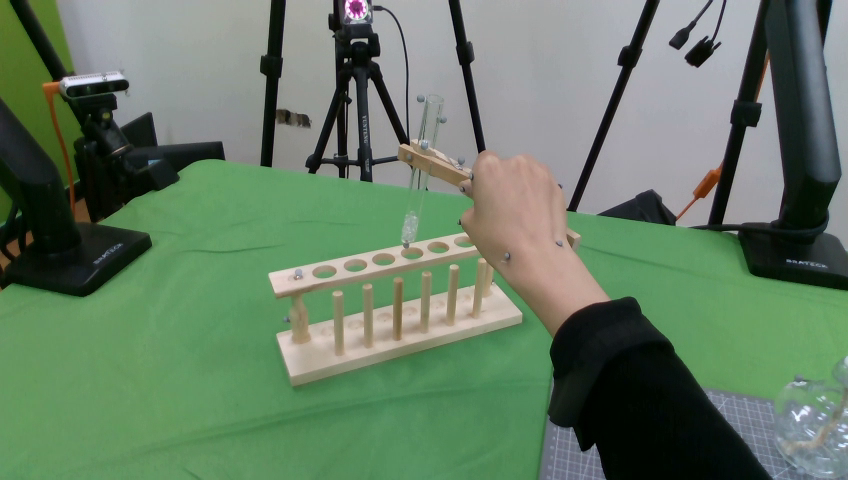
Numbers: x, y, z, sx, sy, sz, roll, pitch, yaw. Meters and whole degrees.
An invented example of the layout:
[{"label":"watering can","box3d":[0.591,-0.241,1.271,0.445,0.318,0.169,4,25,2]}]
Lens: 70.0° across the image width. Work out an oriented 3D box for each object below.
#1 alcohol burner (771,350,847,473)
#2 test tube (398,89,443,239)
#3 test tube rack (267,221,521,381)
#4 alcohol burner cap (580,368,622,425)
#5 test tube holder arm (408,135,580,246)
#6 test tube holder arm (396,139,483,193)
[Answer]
[{"label":"alcohol burner","box3d":[0.318,0.123,0.470,0.078,0.120,0.077,2,34,-1]},{"label":"test tube","box3d":[-0.005,-0.061,0.532,0.017,0.151,0.017,8,38,-6]},{"label":"test tube rack","box3d":[-0.022,0.054,0.597,0.243,0.086,0.066,-12,34,-21]},{"label":"alcohol burner cap","box3d":[0.153,0.131,0.518,0.034,0.048,0.033,2,33,-1]},{"label":"test tube holder arm","box3d":[0.050,-0.044,0.490,0.177,0.015,0.013,34,45,30]},{"label":"test tube holder arm","box3d":[0.013,-0.063,0.507,0.087,0.015,0.010,28,41,24]}]
